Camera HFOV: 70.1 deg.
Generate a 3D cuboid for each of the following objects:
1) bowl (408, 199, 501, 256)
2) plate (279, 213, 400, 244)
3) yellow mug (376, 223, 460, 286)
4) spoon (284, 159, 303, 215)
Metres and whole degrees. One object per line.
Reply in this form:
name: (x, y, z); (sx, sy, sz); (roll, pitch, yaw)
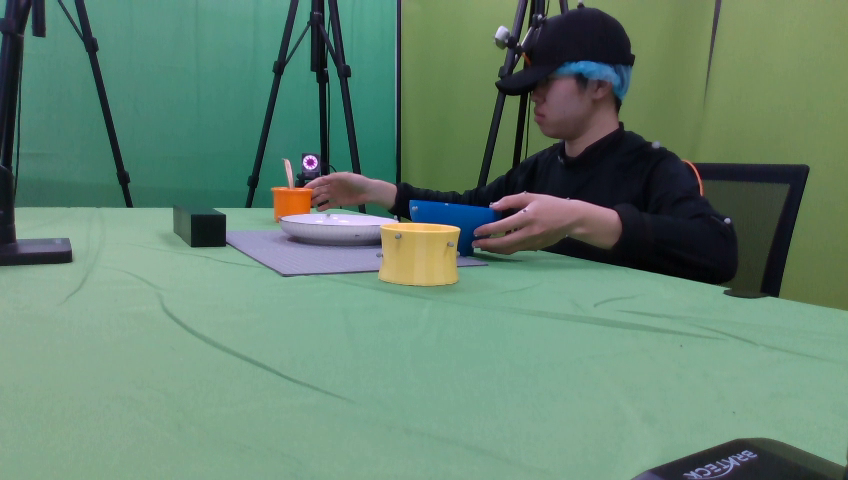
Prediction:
bowl: (0.044, -0.018, 0.967); (0.151, 0.077, 0.151); (7, 5, 0)
plate: (-0.147, -0.020, 1.060); (0.209, 0.038, 0.209); (3, 7, 0)
yellow mug: (-0.002, 0.014, 0.754); (0.099, 0.064, 0.131); (5, 7, 20)
spoon: (-0.302, -0.118, 1.370); (0.042, 0.193, 0.021); (4, -39, -24)
